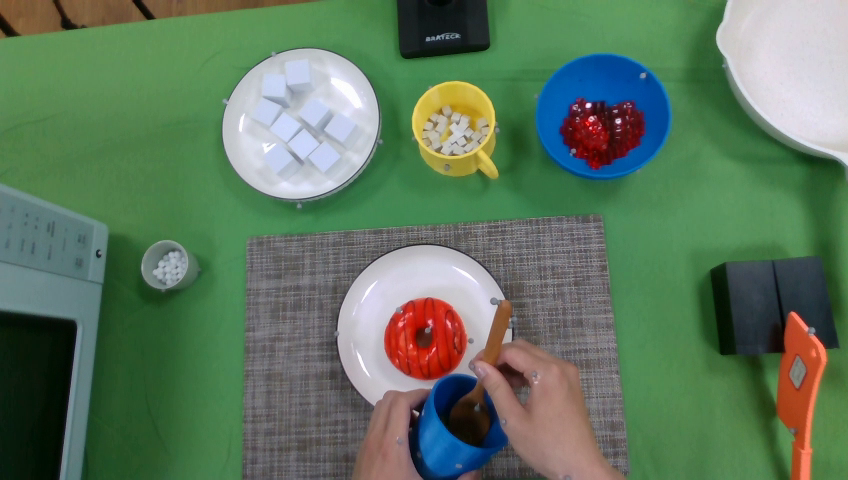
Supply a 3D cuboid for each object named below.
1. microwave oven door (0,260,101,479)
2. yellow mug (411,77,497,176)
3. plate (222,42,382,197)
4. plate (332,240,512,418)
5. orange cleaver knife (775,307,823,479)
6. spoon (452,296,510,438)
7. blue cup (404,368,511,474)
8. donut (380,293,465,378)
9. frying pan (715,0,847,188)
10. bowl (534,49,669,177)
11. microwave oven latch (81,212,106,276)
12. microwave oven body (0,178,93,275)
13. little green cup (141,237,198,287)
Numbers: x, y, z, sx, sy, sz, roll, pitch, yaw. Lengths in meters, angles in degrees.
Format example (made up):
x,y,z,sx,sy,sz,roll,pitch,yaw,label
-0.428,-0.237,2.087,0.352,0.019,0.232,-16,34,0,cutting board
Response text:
x,y,z,sx,sy,sz,roll,pitch,yaw,label
-0.443,0.200,0.626,0.039,0.245,0.354,-1,79,7,microwave oven door
0.047,-0.129,0.745,0.100,0.064,0.130,-40,78,-2,yellow mug
-0.155,-0.153,0.786,0.207,0.039,0.206,-1,79,6,plate
-0.002,0.103,0.715,0.209,0.038,0.208,-1,79,6,plate
0.389,0.176,0.639,0.012,0.077,0.212,-4,107,6,orange cleaver knife
0.052,0.121,0.547,0.041,0.195,0.021,20,44,11,spoon
0.024,0.185,0.594,0.093,0.100,0.091,14,51,-17,blue cup
-0.002,0.110,0.702,0.099,0.048,0.098,-1,82,8,donut
0.485,-0.130,0.675,0.306,0.103,0.484,2,71,8,frying pan
0.205,-0.139,0.723,0.151,0.077,0.150,-1,79,6,bowl
-0.426,0.005,0.766,0.030,0.029,0.079,3,80,6,microwave oven latch
-0.586,0.160,0.655,0.326,0.261,0.440,0,80,6,microwave oven body
-0.320,0.030,0.768,0.061,0.039,0.061,-1,80,5,little green cup
